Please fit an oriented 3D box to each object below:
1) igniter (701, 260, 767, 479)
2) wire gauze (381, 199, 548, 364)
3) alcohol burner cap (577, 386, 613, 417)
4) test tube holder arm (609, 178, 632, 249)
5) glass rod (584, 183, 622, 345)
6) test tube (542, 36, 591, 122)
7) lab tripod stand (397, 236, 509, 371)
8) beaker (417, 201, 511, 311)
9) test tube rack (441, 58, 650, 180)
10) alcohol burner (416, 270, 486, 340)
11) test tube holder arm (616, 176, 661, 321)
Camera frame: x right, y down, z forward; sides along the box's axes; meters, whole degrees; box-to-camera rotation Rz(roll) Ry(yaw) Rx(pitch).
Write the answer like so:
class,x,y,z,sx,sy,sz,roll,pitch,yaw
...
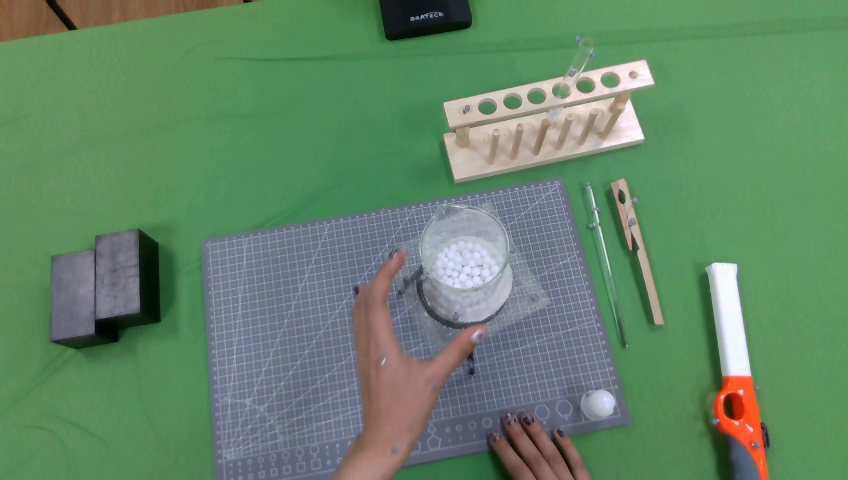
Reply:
class,x,y,z,sx,sy,sz,roll,pitch,yaw
igniter,0.336,0.155,0.659,0.057,0.025,0.274,4,71,-8
wire gauze,0.037,0.035,0.578,0.121,0.011,0.124,-27,74,-4
alcohol burner cap,0.184,0.170,0.647,0.034,0.048,0.033,0,71,2
test tube holder arm,0.239,-0.032,0.730,0.010,0.015,0.087,-20,70,30
glass rod,0.211,0.025,0.716,0.008,0.008,0.198,-7,74,-1
test tube,0.160,-0.178,0.692,0.017,0.151,0.017,2,69,-4
lab tripod stand,0.034,0.059,0.640,0.148,0.132,0.147,-1,72,3
beaker,0.033,0.017,0.533,0.074,0.101,0.083,-25,72,-5
test tube rack,0.145,-0.143,0.733,0.242,0.086,0.066,-12,71,-3
alcohol burner,0.029,0.065,0.648,0.078,0.120,0.077,-1,69,2
test tube holder arm,0.251,0.008,0.714,0.013,0.015,0.177,-21,70,29
